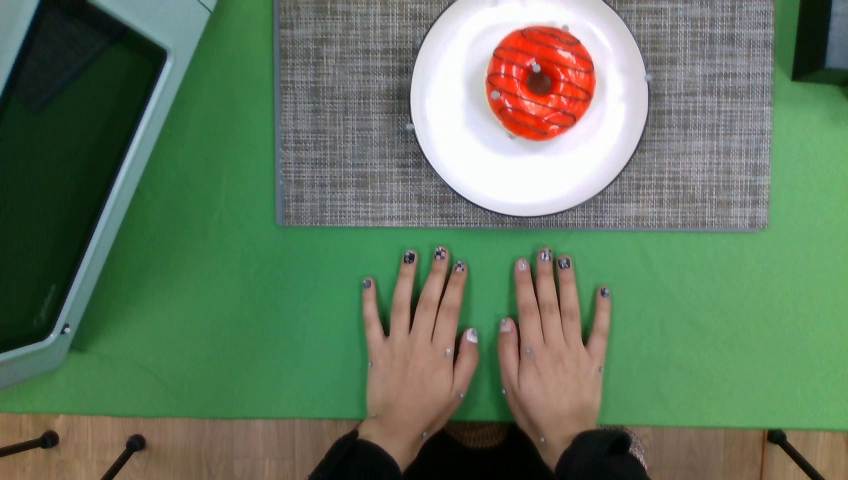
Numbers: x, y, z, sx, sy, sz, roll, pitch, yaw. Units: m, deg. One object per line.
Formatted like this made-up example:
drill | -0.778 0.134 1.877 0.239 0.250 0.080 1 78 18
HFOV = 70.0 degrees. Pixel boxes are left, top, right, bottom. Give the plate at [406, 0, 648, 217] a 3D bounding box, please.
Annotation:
plate | 0.089 -0.123 0.540 0.209 0.038 0.209 0 93 1

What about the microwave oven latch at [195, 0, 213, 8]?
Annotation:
microwave oven latch | -0.186 -0.246 0.524 0.030 0.029 0.079 25 94 -1

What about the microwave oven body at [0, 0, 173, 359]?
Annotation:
microwave oven body | -0.397 -0.144 0.436 0.326 0.260 0.441 25 93 -1

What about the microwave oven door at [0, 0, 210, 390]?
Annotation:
microwave oven door | -0.282 -0.044 0.434 0.039 0.243 0.356 25 93 1

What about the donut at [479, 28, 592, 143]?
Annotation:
donut | 0.097 -0.135 0.528 0.099 0.048 0.099 0 94 -2
